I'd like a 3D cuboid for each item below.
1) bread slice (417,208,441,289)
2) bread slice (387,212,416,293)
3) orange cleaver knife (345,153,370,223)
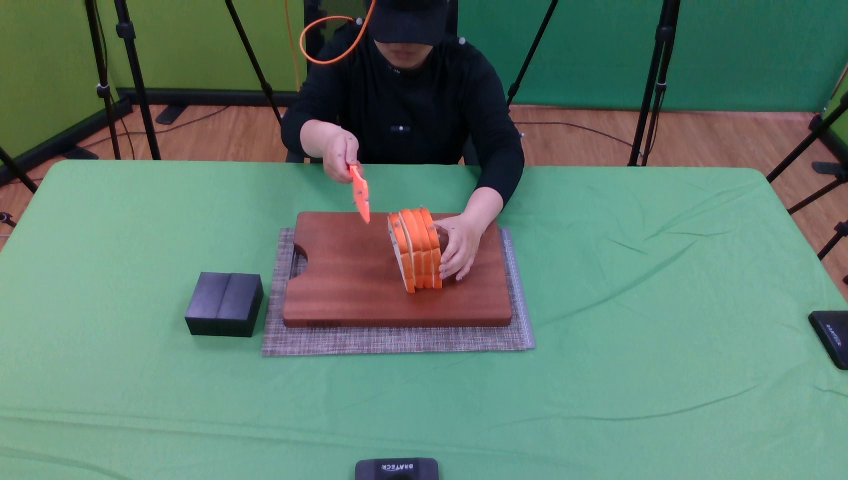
[{"bbox_3d":[0.008,0.011,1.075,0.018,0.135,0.106,-12,51,-9],"label":"bread slice"},{"bbox_3d":[-0.041,0.016,1.067,0.019,0.132,0.104,-16,46,-6],"label":"bread slice"},{"bbox_3d":[-0.114,-0.092,1.028,0.012,0.077,0.210,-7,26,-13],"label":"orange cleaver knife"}]
